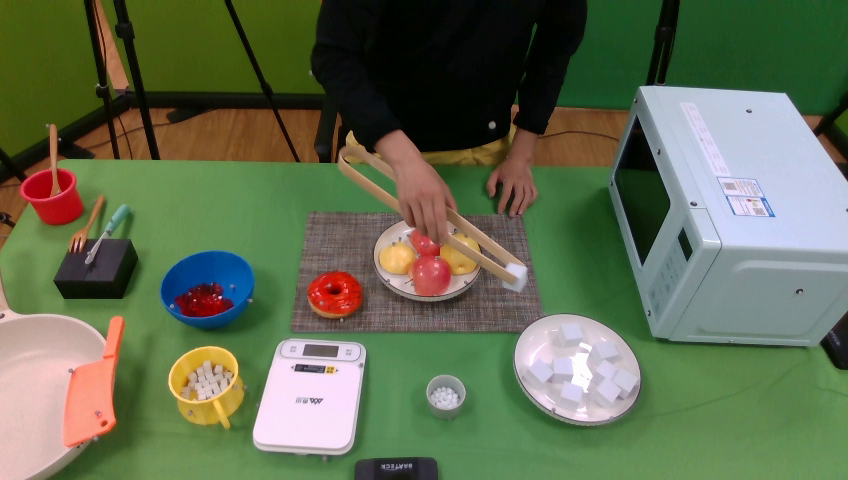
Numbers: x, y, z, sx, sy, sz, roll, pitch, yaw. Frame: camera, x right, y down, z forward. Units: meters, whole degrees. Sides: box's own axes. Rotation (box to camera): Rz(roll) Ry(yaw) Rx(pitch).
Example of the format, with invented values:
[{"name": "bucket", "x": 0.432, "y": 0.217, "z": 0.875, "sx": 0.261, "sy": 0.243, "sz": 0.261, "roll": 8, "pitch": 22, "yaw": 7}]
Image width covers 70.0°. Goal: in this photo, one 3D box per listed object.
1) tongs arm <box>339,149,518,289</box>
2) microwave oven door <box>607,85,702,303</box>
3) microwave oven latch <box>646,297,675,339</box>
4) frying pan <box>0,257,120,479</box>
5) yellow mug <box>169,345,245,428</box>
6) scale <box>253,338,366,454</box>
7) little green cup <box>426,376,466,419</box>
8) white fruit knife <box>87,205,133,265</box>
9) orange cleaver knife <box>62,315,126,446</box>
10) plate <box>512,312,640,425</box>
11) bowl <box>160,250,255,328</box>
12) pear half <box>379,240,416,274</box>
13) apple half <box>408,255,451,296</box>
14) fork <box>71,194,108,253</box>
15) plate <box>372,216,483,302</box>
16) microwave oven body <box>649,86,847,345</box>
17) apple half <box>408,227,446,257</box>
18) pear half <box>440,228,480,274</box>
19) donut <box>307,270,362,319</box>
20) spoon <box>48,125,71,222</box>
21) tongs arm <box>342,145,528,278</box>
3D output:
[{"name": "tongs arm", "x": -0.003, "y": -0.038, "z": 1.024, "sx": 0.386, "sy": 0.028, "sz": 0.028, "roll": 36, "pitch": 55, "yaw": 14}, {"name": "microwave oven door", "x": 0.423, "y": -0.094, "z": 1.140, "sx": 0.039, "sy": 0.245, "sz": 0.353, "roll": 2, "pitch": 46, "yaw": -1}, {"name": "microwave oven latch", "x": 0.412, "y": 0.134, "z": 1.061, "sx": 0.030, "sy": 0.029, "sz": 0.078, "roll": 4, "pitch": 45, "yaw": 1}, {"name": "frying pan", "x": -0.647, "y": 0.164, "z": 0.936, "sx": 0.307, "sy": 0.103, "sz": 0.485, "roll": -19, "pitch": 58, "yaw": -22}, {"name": "yellow mug", "x": -0.322, "y": 0.230, "z": 0.922, "sx": 0.100, "sy": 0.064, "sz": 0.130, "roll": -24, "pitch": 53, "yaw": -25}, {"name": "scale", "x": -0.175, "y": 0.236, "z": 0.951, "sx": 0.149, "sy": 0.032, "sz": 0.199, "roll": 4, "pitch": 45, "yaw": -1}, {"name": "little green cup", "x": 0.033, "y": 0.248, "z": 0.950, "sx": 0.061, "sy": 0.039, "sz": 0.061, "roll": 2, "pitch": 46, "yaw": -2}, {"name": "white fruit knife", "x": -0.584, "y": -0.013, "z": 1.129, "sx": 0.016, "sy": 0.027, "sz": 0.206, "roll": -1, "pitch": 32, "yaw": -4}, {"name": "orange cleaver knife", "x": -0.480, "y": 0.199, "z": 0.887, "sx": 0.077, "sy": 0.012, "sz": 0.210, "roll": -9, "pitch": 47, "yaw": -8}, {"name": "plate", "x": 0.246, "y": 0.213, "z": 0.999, "sx": 0.208, "sy": 0.039, "sz": 0.206, "roll": 2, "pitch": 46, "yaw": -2}, {"name": "bowl", "x": -0.362, "y": 0.098, "z": 1.039, "sx": 0.151, "sy": 0.077, "sz": 0.150, "roll": 2, "pitch": 45, "yaw": -2}, {"name": "pear half", "x": -0.048, "y": 0.024, "z": 1.146, "sx": 0.070, "sy": 0.031, "sz": 0.087, "roll": 11, "pitch": 47, "yaw": -12}, {"name": "apple half", "x": 0.012, "y": 0.058, "z": 1.103, "sx": 0.075, "sy": 0.053, "sz": 0.080, "roll": -6, "pitch": 43, "yaw": -13}, {"name": "fork", "x": -0.634, "y": -0.036, "z": 1.158, "sx": 0.028, "sy": 0.019, "sz": 0.206, "roll": -8, "pitch": 31, "yaw": -8}, {"name": "plate", "x": 0.006, "y": 0.038, "z": 1.145, "sx": 0.209, "sy": 0.038, "sz": 0.208, "roll": 2, "pitch": 46, "yaw": -2}, {"name": "microwave oven body", "x": 0.567, "y": -0.053, "z": 1.118, "sx": 0.326, "sy": 0.261, "sz": 0.439, "roll": 2, "pitch": 45, "yaw": -1}, {"name": "apple half", "x": 0.011, "y": -0.006, "z": 1.176, "sx": 0.081, "sy": 0.033, "sz": 0.081, "roll": 2, "pitch": 53, "yaw": -2}, {"name": "pear half", "x": 0.065, "y": 0.006, "z": 1.150, "sx": 0.076, "sy": 0.056, "sz": 0.109, "roll": -11, "pitch": 44, "yaw": -1}, {"name": "donut", "x": -0.158, "y": 0.096, "z": 1.073, "sx": 0.099, "sy": 0.048, "sz": 0.098, "roll": 4, "pitch": 46, "yaw": -4}, {"name": "spoon", "x": -0.718, "y": -0.131, "z": 1.188, "sx": 0.041, "sy": 0.021, "sz": 0.193, "roll": -3, "pitch": 90, "yaw": -7}, {"name": "tongs arm", "x": 0.011, "y": -0.050, "z": 1.038, "sx": 0.383, "sy": 0.026, "sz": 0.051, "roll": 39, "pitch": 52, "yaw": 17}]
